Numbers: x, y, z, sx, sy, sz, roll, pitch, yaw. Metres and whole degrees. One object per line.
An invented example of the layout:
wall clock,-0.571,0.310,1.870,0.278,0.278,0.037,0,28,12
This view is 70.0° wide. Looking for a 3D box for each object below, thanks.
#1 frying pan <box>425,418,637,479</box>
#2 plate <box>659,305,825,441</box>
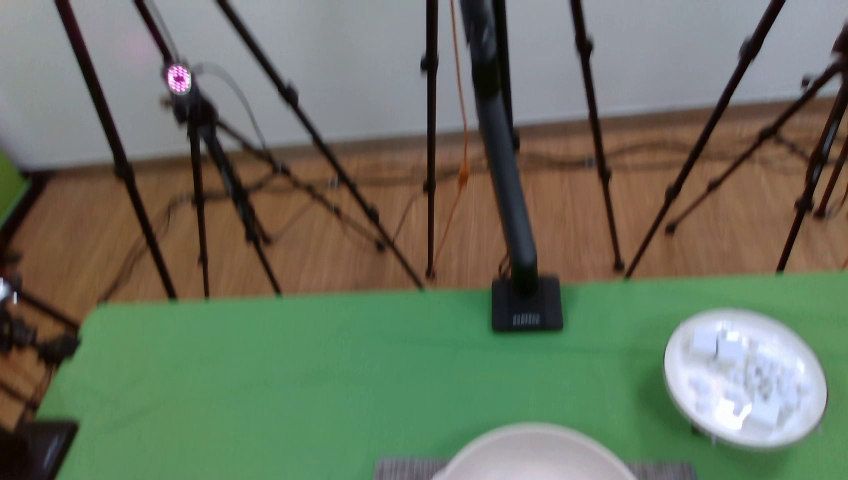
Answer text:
frying pan,0.087,0.437,0.705,0.304,0.104,0.486,17,46,27
plate,0.435,0.184,0.843,0.207,0.039,0.205,-5,48,6
